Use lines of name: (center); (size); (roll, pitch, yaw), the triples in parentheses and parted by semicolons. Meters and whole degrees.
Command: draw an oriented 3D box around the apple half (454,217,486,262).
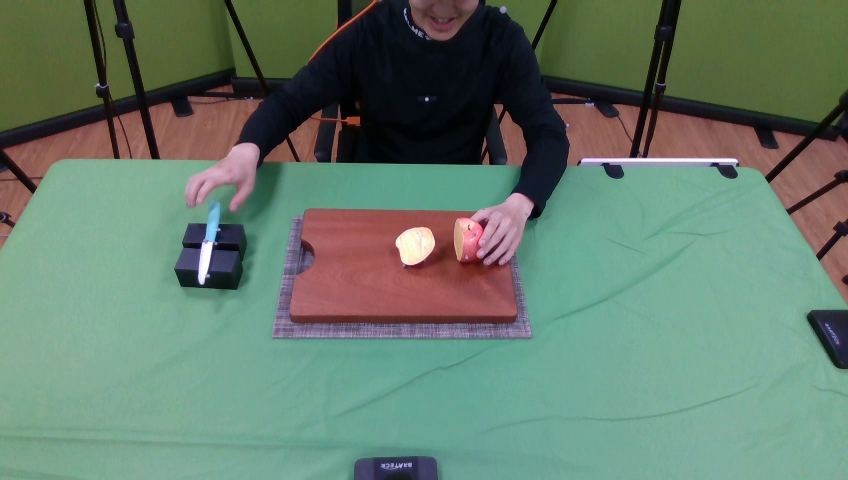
apple half: (0.088, 0.000, 1.126); (0.053, 0.075, 0.080); (-1, 44, -11)

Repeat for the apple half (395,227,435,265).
apple half: (-0.011, 0.015, 1.126); (0.081, 0.033, 0.081); (-9, 57, 15)

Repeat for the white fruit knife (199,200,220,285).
white fruit knife: (-0.391, 0.001, 1.104); (0.027, 0.016, 0.206); (-18, 49, 11)
